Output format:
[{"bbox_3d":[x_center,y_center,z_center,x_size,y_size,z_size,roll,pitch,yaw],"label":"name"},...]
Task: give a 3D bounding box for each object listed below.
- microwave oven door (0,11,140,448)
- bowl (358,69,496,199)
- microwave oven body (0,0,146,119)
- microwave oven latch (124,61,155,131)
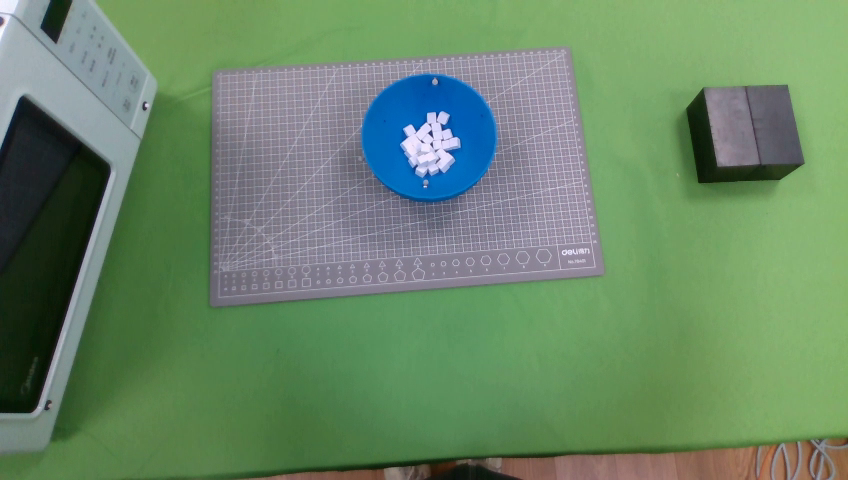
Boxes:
[{"bbox_3d":[-0.379,0.011,0.559,0.039,0.245,0.354,9,75,3],"label":"microwave oven door"},{"bbox_3d":[0.004,-0.109,0.693,0.151,0.077,0.150,0,75,0],"label":"bowl"},{"bbox_3d":[-0.516,-0.051,0.579,0.326,0.261,0.439,9,76,2],"label":"microwave oven body"},{"bbox_3d":[-0.341,-0.171,0.712,0.030,0.029,0.079,11,76,2],"label":"microwave oven latch"}]
